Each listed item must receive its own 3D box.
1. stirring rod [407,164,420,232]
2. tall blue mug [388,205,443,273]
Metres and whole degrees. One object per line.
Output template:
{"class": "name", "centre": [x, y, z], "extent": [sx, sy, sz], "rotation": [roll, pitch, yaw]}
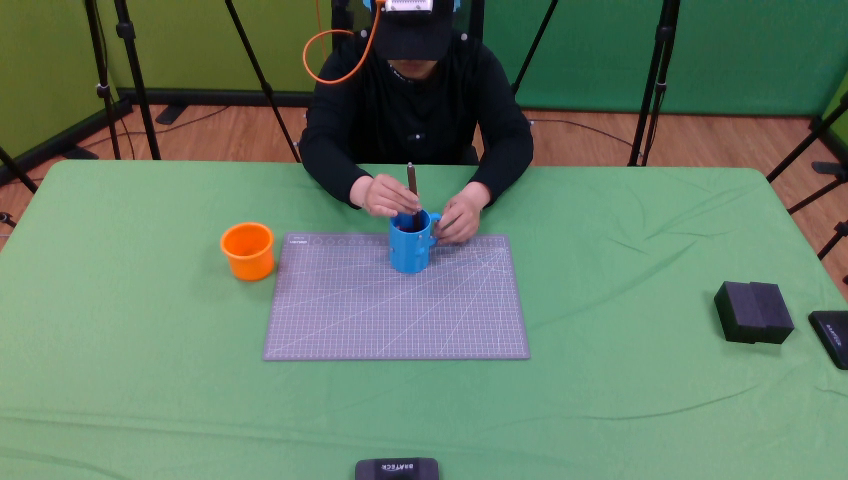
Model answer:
{"class": "stirring rod", "centre": [-0.018, -0.066, 1.087], "extent": [0.014, 0.177, 0.006], "rotation": [8, 48, 12]}
{"class": "tall blue mug", "centre": [-0.020, -0.010, 1.144], "extent": [0.077, 0.108, 0.107], "rotation": [23, 49, 18]}
